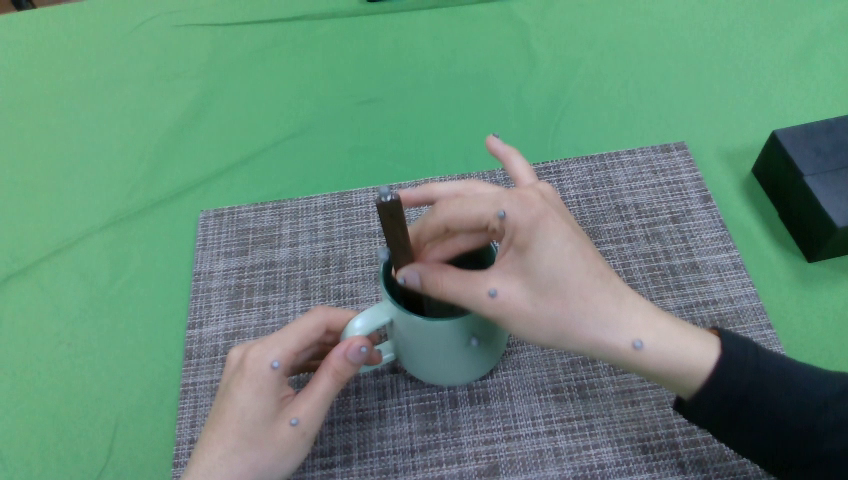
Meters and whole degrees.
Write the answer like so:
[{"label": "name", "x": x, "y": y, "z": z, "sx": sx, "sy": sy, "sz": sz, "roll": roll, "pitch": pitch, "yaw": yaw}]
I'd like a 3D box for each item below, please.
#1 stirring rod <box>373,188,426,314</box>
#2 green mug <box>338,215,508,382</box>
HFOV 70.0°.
[{"label": "stirring rod", "x": -0.011, "y": 0.021, "z": 0.379, "sx": 0.014, "sy": 0.178, "sz": 0.005, "roll": -16, "pitch": 59, "yaw": -4}, {"label": "green mug", "x": -0.001, "y": 0.051, "z": 0.424, "sx": 0.125, "sy": 0.106, "sz": 0.091, "roll": -28, "pitch": 59, "yaw": -12}]
